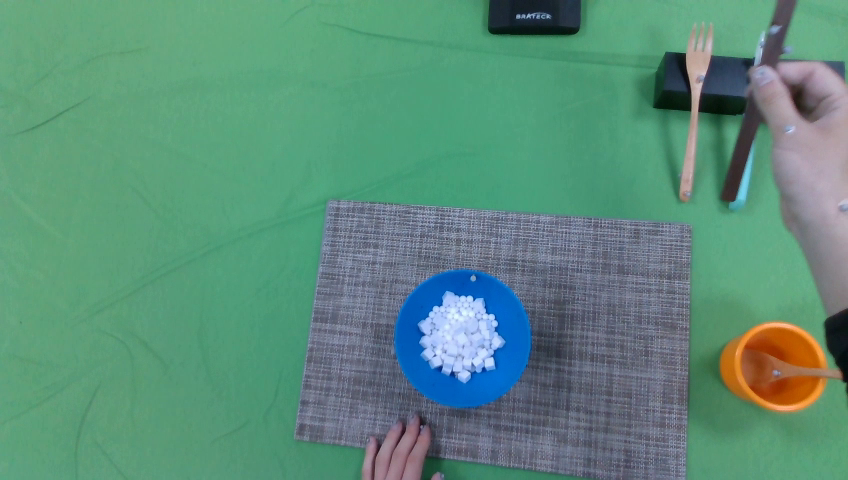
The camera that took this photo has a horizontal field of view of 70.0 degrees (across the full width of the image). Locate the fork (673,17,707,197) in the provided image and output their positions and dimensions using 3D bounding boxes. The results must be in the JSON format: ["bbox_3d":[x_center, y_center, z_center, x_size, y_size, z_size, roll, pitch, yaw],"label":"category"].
[{"bbox_3d":[0.311,-0.154,0.716,0.028,0.018,0.208,3,99,4],"label":"fork"}]

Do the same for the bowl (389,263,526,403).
[{"bbox_3d":[0.040,0.107,0.692,0.151,0.077,0.150,-1,78,6],"label":"bowl"}]

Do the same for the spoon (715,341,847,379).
[{"bbox_3d":[0.397,0.129,0.616,0.022,0.192,0.041,16,77,-36],"label":"spoon"}]

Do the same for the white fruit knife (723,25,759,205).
[{"bbox_3d":[0.372,-0.144,0.706,0.016,0.027,0.207,6,96,5],"label":"white fruit knife"}]

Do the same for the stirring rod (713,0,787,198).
[{"bbox_3d":[0.258,-0.113,0.482,0.014,0.006,0.177,15,125,23],"label":"stirring rod"}]
